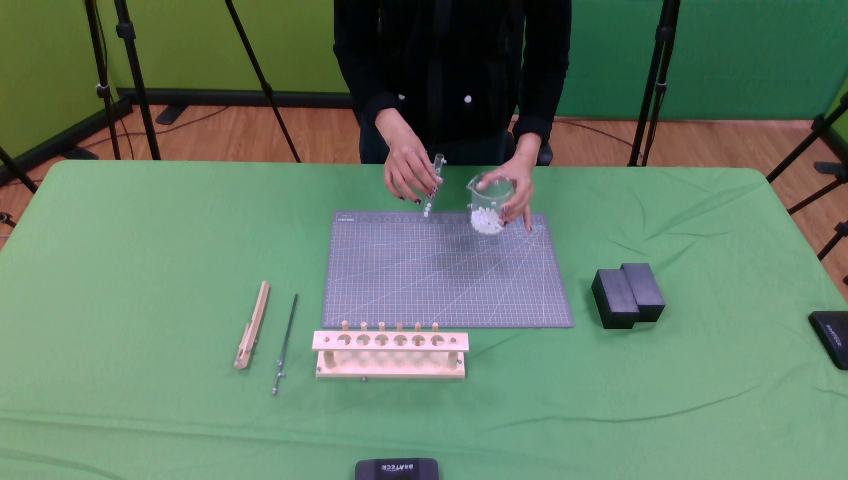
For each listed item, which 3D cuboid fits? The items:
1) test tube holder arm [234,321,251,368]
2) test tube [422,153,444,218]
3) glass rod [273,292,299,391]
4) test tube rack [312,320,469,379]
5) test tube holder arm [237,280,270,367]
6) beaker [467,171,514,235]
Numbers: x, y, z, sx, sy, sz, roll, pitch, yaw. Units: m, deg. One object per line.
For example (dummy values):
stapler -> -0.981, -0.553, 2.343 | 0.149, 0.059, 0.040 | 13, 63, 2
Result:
test tube holder arm -> -0.299, 0.173, 1.013 | 0.010, 0.015, 0.087 | -16, 42, 22
test tube -> 0.015, -0.096, 1.100 | 0.017, 0.151, 0.017 | 7, 46, -7
glass rod -> -0.233, 0.167, 1.030 | 0.008, 0.008, 0.198 | 3, 46, 0
test tube rack -> -0.054, 0.173, 0.984 | 0.242, 0.085, 0.066 | 1, 46, -3
test tube holder arm -> -0.290, 0.139, 1.042 | 0.013, 0.015, 0.177 | -16, 42, 22
beaker -> 0.119, -0.065, 1.114 | 0.084, 0.101, 0.073 | 3, 46, 3
